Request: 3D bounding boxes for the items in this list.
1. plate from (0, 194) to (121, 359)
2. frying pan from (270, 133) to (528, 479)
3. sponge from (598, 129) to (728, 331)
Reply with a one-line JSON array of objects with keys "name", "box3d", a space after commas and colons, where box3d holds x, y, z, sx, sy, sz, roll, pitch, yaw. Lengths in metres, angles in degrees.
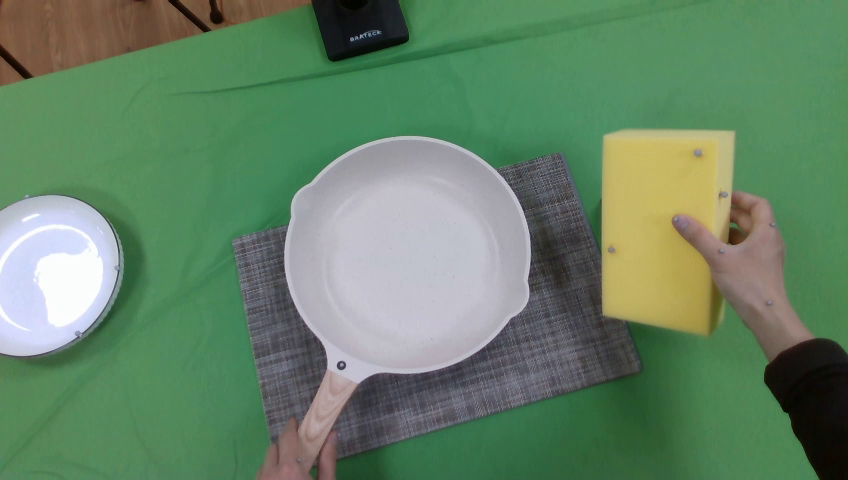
[{"name": "plate", "box3d": [-0.481, 0.046, 0.760, 0.208, 0.039, 0.206, 0, 74, 0]}, {"name": "frying pan", "box3d": [-0.068, 0.099, 0.702, 0.306, 0.103, 0.486, 25, 68, 9]}, {"name": "sponge", "box3d": [0.258, -0.016, 0.661, 0.117, 0.061, 0.207, 7, 108, 38]}]
